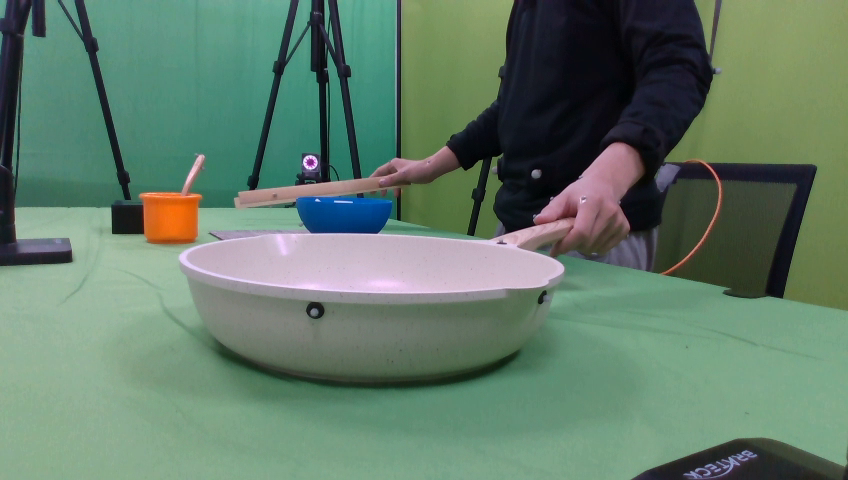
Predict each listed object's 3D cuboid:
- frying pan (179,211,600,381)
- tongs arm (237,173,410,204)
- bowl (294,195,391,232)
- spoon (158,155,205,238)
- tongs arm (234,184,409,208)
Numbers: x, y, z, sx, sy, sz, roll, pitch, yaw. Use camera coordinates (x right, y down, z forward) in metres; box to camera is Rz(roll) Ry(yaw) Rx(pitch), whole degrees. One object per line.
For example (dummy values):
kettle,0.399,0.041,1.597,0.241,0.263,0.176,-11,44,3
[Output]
frying pan,0.034,0.019,0.557,0.305,0.102,0.490,11,19,44
tongs arm,-0.196,-0.111,1.275,0.389,0.027,0.028,-10,-2,-29
bowl,-0.127,-0.028,0.946,0.151,0.077,0.151,3,7,0
spoon,-0.392,-0.076,0.998,0.041,0.193,0.021,1,-36,6
tongs arm,-0.223,-0.110,1.348,0.386,0.026,0.050,-9,1,-17
